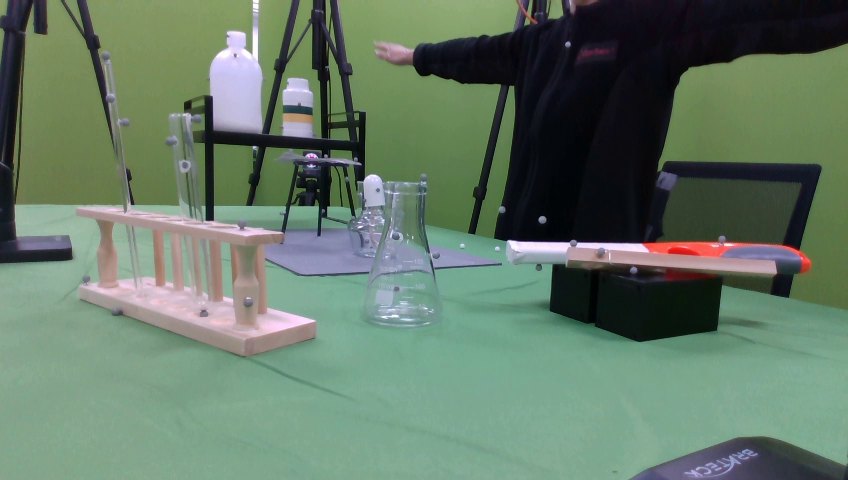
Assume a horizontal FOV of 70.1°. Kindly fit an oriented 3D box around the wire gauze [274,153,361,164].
[{"bbox_3d":[-0.174,-0.130,0.978,0.125,0.011,0.121,1,6,-19],"label":"wire gauze"}]

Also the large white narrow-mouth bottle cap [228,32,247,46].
[{"bbox_3d":[-0.364,-0.390,1.180,0.038,0.024,0.037,3,8,0],"label":"large white narrow-mouth bottle cap"}]

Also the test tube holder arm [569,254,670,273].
[{"bbox_3d":[0.172,0.019,0.532,0.088,0.015,0.010,3,-23,4],"label":"test tube holder arm"}]

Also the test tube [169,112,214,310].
[{"bbox_3d":[-0.175,-0.020,0.455,0.017,0.150,0.017,-3,9,1],"label":"test tube"}]

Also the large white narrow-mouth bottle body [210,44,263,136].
[{"bbox_3d":[-0.369,-0.305,1.194,0.102,0.194,0.102,3,8,0],"label":"large white narrow-mouth bottle body"}]

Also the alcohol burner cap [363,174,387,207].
[{"bbox_3d":[-0.072,-0.070,0.861,0.034,0.048,0.034,-7,7,1],"label":"alcohol burner cap"}]

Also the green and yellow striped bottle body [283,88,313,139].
[{"bbox_3d":[-0.266,-0.275,1.275,0.063,0.119,0.063,3,7,0],"label":"green and yellow striped bottle body"}]

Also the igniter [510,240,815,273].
[{"bbox_3d":[0.220,0.015,0.565,0.277,0.025,0.057,2,16,0],"label":"igniter"}]

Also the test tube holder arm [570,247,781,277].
[{"bbox_3d":[0.217,0.019,0.524,0.178,0.015,0.013,3,-23,3],"label":"test tube holder arm"}]

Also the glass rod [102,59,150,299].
[{"bbox_3d":[-0.244,-0.045,0.496,0.008,0.199,0.008,-3,13,1],"label":"glass rod"}]

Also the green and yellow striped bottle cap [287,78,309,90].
[{"bbox_3d":[-0.265,-0.326,1.268,0.045,0.020,0.045,4,6,0],"label":"green and yellow striped bottle cap"}]

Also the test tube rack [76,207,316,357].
[{"bbox_3d":[-0.196,0.023,0.500,0.241,0.085,0.067,8,9,36],"label":"test tube rack"}]

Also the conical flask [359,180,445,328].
[{"bbox_3d":[-0.017,0.010,0.522,0.075,0.122,0.075,3,7,0],"label":"conical flask"}]

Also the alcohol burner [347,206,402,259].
[{"bbox_3d":[-0.071,-0.034,0.867,0.078,0.119,0.078,0,7,0],"label":"alcohol burner"}]

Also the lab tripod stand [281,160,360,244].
[{"bbox_3d":[-0.170,-0.063,0.983,0.148,0.131,0.148,1,6,0],"label":"lab tripod stand"}]

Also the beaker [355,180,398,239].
[{"bbox_3d":[-0.083,-0.055,1.083,0.083,0.100,0.074,8,9,31],"label":"beaker"}]
